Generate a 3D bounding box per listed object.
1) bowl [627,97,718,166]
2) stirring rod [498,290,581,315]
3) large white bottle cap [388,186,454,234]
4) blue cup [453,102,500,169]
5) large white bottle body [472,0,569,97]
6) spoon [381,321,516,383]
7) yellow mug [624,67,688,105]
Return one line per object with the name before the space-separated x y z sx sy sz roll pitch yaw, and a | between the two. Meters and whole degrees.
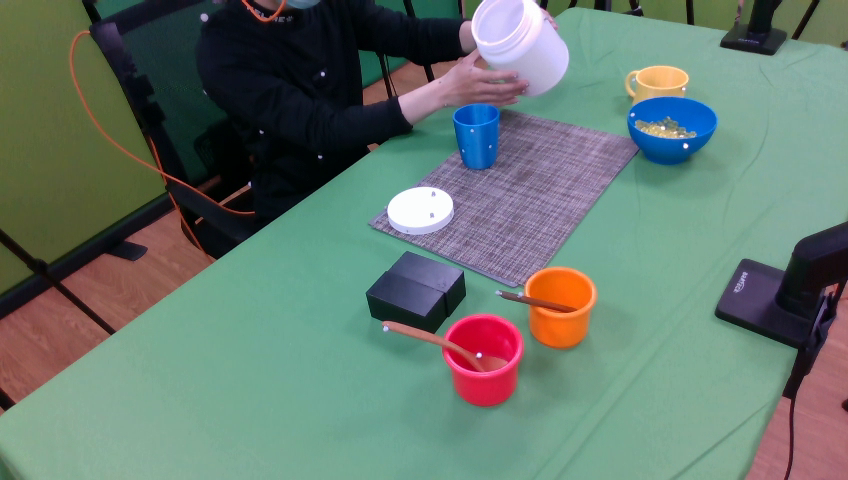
bowl | 0.439 -0.187 1.087 0.151 0.077 0.150 -4 41 4
stirring rod | 0.151 0.081 0.772 0.178 0.006 0.014 16 19 -44
large white bottle cap | -0.006 -0.052 1.036 0.115 0.018 0.114 -4 40 4
blue cup | 0.099 -0.188 1.114 0.092 0.100 0.092 -4 39 4
large white bottle body | 0.179 -0.365 1.132 0.130 0.186 0.130 -12 68 30
spoon | 0.033 0.131 0.725 0.195 0.021 0.041 29 30 -26
yellow mug | 0.464 -0.306 1.230 0.100 0.064 0.129 -34 46 -27
